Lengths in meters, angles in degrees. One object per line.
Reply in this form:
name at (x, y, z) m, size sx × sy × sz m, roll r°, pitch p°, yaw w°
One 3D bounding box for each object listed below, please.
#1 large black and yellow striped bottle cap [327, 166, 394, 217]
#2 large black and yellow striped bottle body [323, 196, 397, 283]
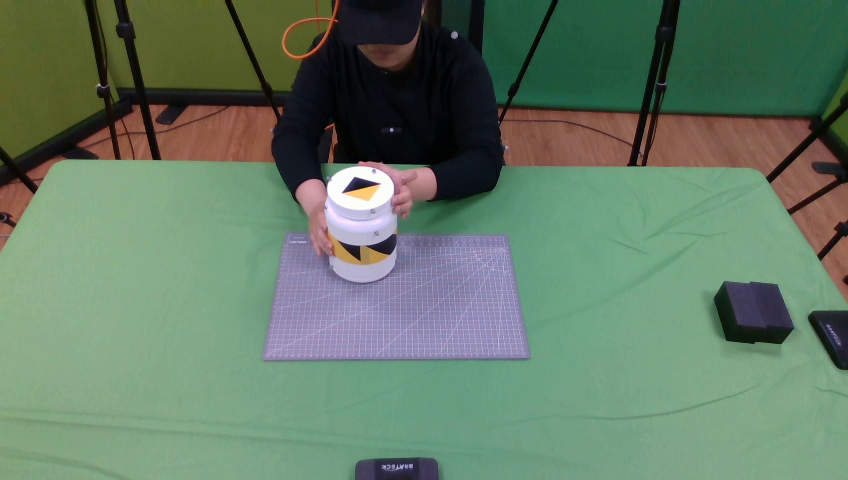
large black and yellow striped bottle cap at (-0.109, -0.085, 1.039) m, size 0.115 × 0.019 × 0.114 m, roll 2°, pitch 47°, yaw -2°
large black and yellow striped bottle body at (-0.114, -0.026, 1.099) m, size 0.131 × 0.185 × 0.130 m, roll 2°, pitch 46°, yaw -2°
